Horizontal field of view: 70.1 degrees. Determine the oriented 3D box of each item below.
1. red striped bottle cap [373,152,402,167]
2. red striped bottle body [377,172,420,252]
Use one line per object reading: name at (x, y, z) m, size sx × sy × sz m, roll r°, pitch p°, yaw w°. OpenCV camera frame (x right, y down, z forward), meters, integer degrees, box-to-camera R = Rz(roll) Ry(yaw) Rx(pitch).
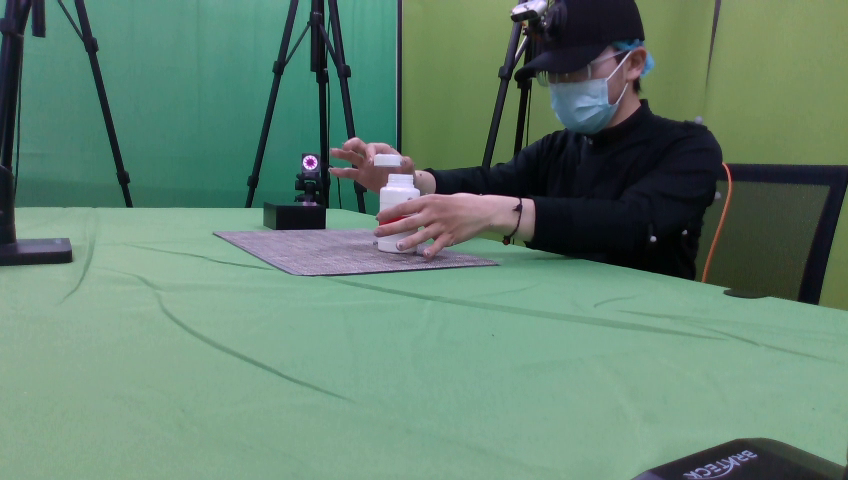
red striped bottle cap at (-0.058, -0.126, 0.947) m, size 0.044 × 0.017 × 0.044 m, roll -4°, pitch -1°, yaw 0°
red striped bottle body at (-0.039, -0.044, 0.935) m, size 0.063 × 0.119 × 0.063 m, roll 2°, pitch 7°, yaw 0°
